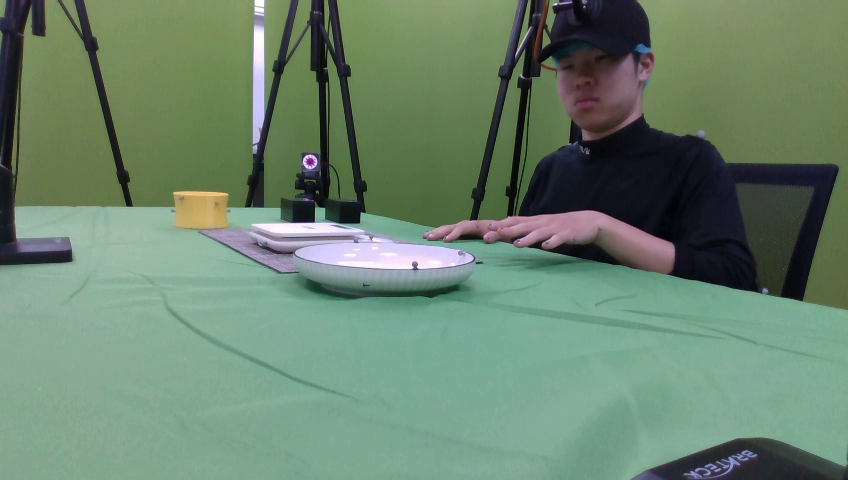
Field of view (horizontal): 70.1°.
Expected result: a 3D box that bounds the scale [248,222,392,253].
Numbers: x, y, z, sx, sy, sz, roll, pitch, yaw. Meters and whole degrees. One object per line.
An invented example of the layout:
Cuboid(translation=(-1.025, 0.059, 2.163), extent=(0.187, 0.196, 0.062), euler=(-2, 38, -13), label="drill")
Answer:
Cuboid(translation=(-0.162, -0.006, 0.954), extent=(0.202, 0.031, 0.148), euler=(-1, 9, -32), label="scale")

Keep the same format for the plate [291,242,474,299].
Cuboid(translation=(-0.047, 0.033, 0.693), extent=(0.209, 0.038, 0.209), euler=(3, 7, 0), label="plate")

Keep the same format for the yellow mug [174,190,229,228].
Cuboid(translation=(-0.427, -0.063, 1.189), extent=(0.100, 0.064, 0.131), euler=(5, 7, 13), label="yellow mug")
